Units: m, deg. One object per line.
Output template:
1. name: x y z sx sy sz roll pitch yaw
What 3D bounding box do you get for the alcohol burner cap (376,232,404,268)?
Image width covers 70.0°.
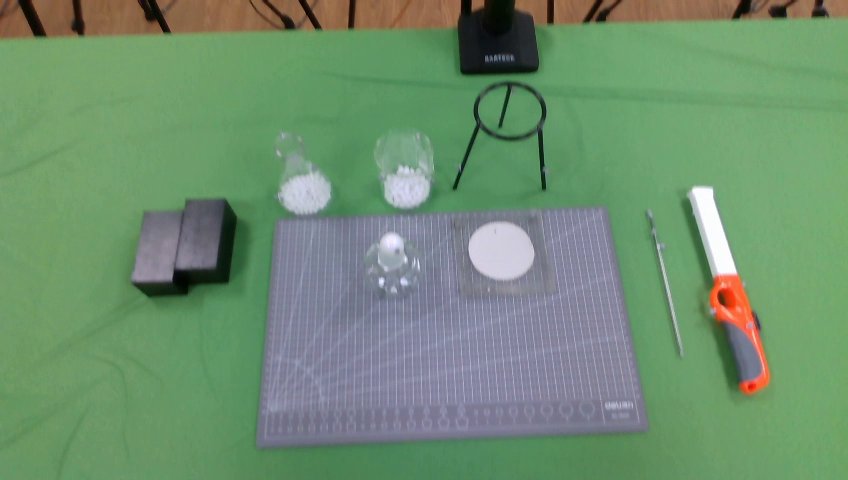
1. alcohol burner cap: -0.039 0.009 0.697 0.034 0.048 0.033 2 65 -5

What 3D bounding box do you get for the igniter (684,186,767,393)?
1. igniter: 0.378 0.054 0.764 0.057 0.025 0.274 1 65 -11

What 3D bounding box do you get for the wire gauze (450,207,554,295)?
1. wire gauze: 0.101 0.015 0.792 0.125 0.011 0.120 -3 65 -3

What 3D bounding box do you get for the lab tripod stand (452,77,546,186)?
1. lab tripod stand: 0.102 -0.134 0.796 0.148 0.132 0.147 0 67 1

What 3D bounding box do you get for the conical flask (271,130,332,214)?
1. conical flask: -0.164 -0.091 0.783 0.075 0.123 0.074 0 65 0

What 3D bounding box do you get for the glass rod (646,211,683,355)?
1. glass rod: 0.307 0.050 0.776 0.008 0.008 0.198 -3 64 -1

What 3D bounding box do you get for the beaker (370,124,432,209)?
1. beaker: -0.025 -0.091 0.795 0.083 0.101 0.074 31 69 14

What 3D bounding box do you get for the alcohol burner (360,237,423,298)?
1. alcohol burner: -0.040 0.025 0.729 0.078 0.120 0.077 0 66 0
